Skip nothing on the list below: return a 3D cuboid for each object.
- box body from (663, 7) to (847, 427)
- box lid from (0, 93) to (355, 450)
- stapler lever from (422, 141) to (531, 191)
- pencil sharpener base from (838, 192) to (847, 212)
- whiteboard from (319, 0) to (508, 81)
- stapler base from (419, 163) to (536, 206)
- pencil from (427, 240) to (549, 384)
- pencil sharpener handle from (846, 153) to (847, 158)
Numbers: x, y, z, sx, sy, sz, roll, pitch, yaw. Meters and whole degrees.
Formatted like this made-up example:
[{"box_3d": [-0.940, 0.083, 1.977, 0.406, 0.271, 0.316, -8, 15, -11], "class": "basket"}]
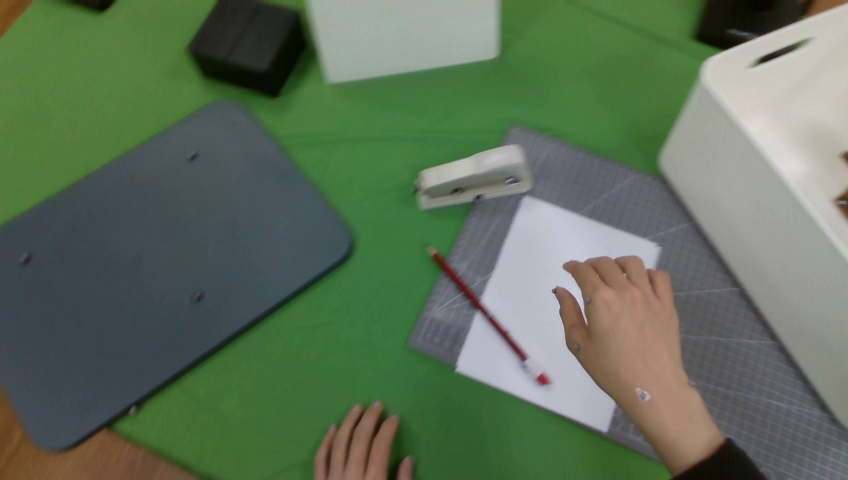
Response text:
[{"box_3d": [0.441, -0.026, 0.585, 0.254, 0.161, 0.361, -22, 69, -10], "class": "box body"}, {"box_3d": [-0.288, 0.012, 0.645, 0.371, 0.015, 0.261, -36, 72, -15], "class": "box lid"}, {"box_3d": [0.057, -0.080, 0.652, 0.118, 0.040, 0.026, -10, 63, -2], "class": "stapler lever"}, {"box_3d": [0.497, -0.050, 0.620, 0.061, 0.108, 0.076, -22, 68, -11], "class": "pencil sharpener base"}, {"box_3d": [-0.023, -0.366, 0.682, 0.217, 0.308, 0.142, -9, 48, -4], "class": "whiteboard"}, {"box_3d": [0.060, -0.070, 0.674, 0.130, 0.024, 0.041, -10, 63, -1], "class": "stapler base"}, {"box_3d": [0.061, 0.069, 0.622, 0.012, 0.012, 0.192, -35, 70, -14], "class": "pencil"}, {"box_3d": [0.473, -0.097, 0.626, 0.036, 0.068, 0.030, -16, 66, -25], "class": "pencil sharpener handle"}]
